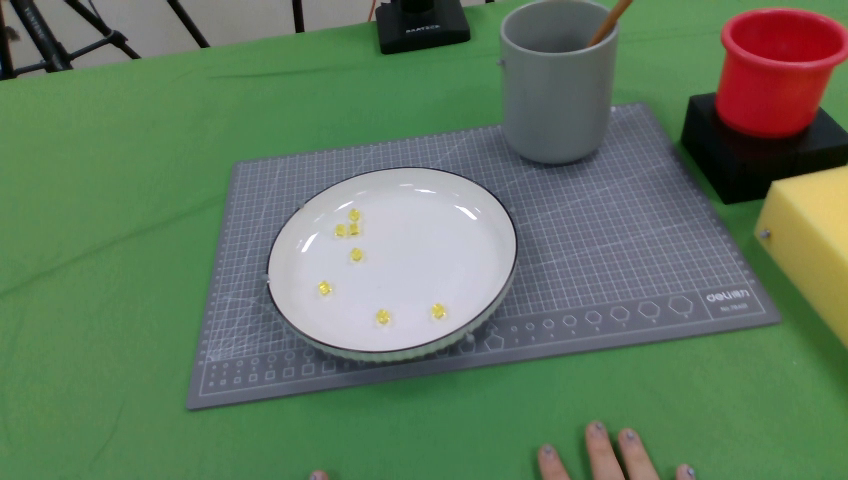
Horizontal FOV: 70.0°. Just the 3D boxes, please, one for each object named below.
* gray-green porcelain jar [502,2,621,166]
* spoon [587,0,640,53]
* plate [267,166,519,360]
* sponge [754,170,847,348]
[{"bbox_3d":[0.128,-0.144,0.581,0.106,0.128,0.105,-4,46,5],"label":"gray-green porcelain jar"},{"bbox_3d":[0.154,-0.167,0.547,0.022,0.194,0.041,23,42,-8],"label":"spoon"},{"bbox_3d":[-0.024,0.016,0.510,0.207,0.039,0.205,-4,46,5],"label":"plate"},{"bbox_3d":[0.352,0.035,0.425,0.118,0.061,0.204,-13,45,-4],"label":"sponge"}]
